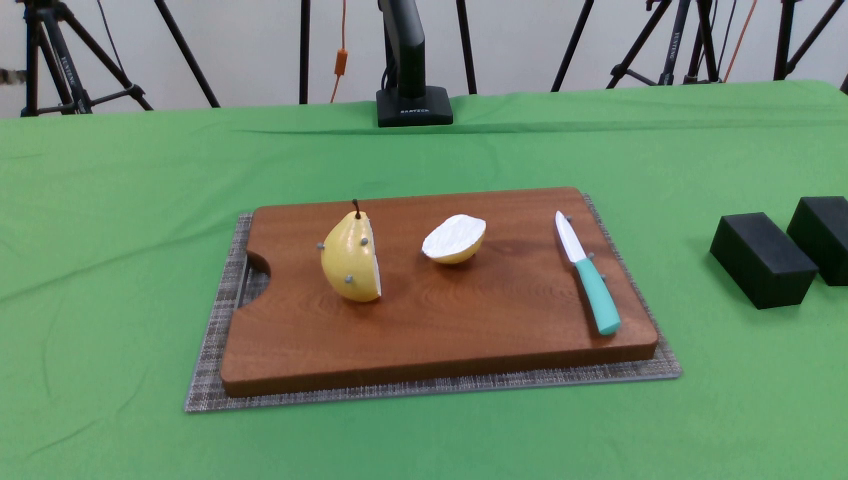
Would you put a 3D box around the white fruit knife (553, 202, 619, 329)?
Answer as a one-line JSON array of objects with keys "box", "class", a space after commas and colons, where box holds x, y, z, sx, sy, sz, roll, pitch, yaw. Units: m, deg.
[{"box": [0.164, 0.017, 0.633, 0.027, 0.016, 0.205, 9, 36, -12], "class": "white fruit knife"}]

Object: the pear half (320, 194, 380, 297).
[{"box": [-0.074, 0.003, 0.581, 0.056, 0.111, 0.075, -9, 36, -9], "class": "pear half"}]

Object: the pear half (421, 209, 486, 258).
[{"box": [0.034, -0.003, 0.646, 0.070, 0.031, 0.087, -9, 23, 14], "class": "pear half"}]
